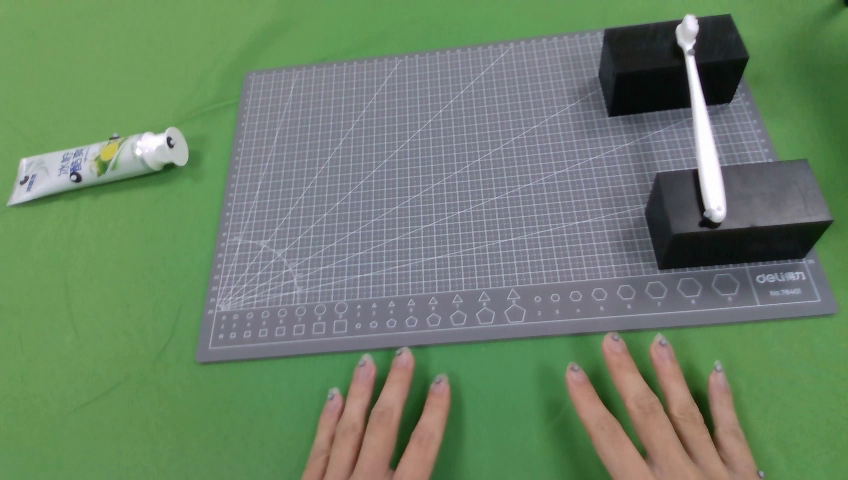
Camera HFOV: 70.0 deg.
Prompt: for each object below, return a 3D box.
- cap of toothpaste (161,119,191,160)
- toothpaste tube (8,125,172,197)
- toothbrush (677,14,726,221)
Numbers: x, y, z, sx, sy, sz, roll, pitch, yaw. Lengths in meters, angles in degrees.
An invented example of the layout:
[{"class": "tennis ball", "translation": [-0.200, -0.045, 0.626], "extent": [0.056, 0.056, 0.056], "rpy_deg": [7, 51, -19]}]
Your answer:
[{"class": "cap of toothpaste", "translation": [-0.220, -0.088, 0.534], "extent": [0.011, 0.038, 0.037], "rpy_deg": [-10, 59, 7]}, {"class": "toothpaste tube", "translation": [-0.297, -0.077, 0.546], "extent": [0.165, 0.035, 0.054], "rpy_deg": [-10, 56, 7]}, {"class": "toothbrush", "translation": [0.197, -0.093, 0.429], "extent": [0.014, 0.017, 0.180], "rpy_deg": [8, 62, -4]}]
